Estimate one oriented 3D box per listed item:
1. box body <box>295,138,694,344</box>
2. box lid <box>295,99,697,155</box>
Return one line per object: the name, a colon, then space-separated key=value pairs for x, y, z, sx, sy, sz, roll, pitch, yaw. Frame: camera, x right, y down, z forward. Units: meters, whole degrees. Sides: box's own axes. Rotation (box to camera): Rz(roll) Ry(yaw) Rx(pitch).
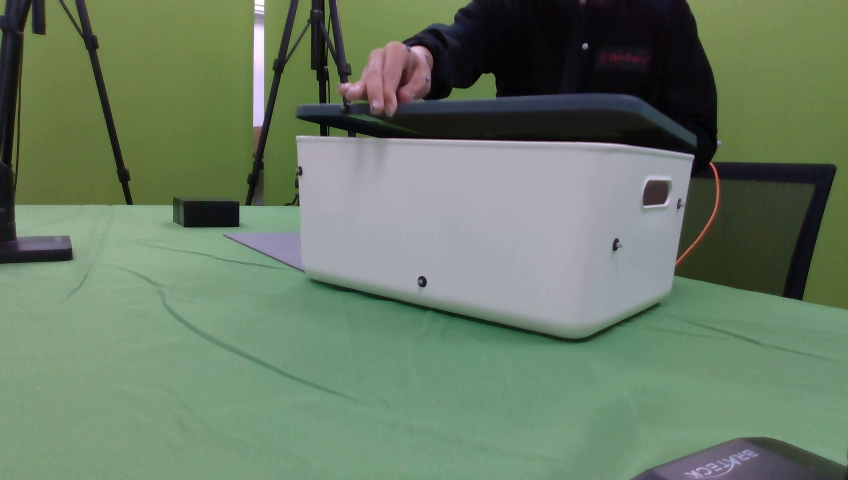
box body: x=0.065 y=-0.020 z=0.653 sx=0.362 sy=0.160 sz=0.255 roll=9 pitch=9 yaw=36
box lid: x=0.073 y=-0.114 z=0.645 sx=0.370 sy=0.015 sz=0.265 roll=7 pitch=4 yaw=34
